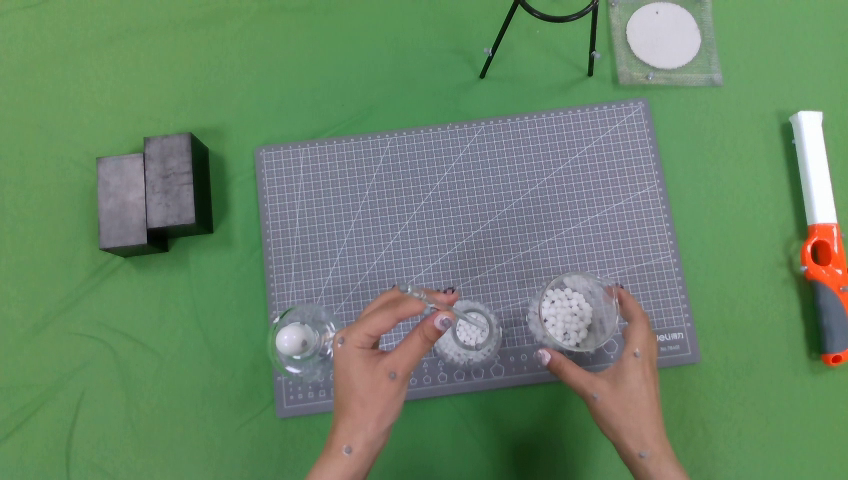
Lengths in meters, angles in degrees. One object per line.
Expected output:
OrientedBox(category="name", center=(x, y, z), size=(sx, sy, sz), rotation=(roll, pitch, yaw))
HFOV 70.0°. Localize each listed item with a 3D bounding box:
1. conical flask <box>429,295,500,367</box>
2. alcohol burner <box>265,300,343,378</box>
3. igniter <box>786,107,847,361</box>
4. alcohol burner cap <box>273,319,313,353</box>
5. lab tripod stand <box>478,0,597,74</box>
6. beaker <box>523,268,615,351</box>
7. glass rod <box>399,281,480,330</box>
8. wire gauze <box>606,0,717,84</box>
OrientedBox(category="conical flask", center=(0.042, 0.086, 0.590), size=(0.075, 0.122, 0.075), rotation=(0, 79, 1))
OrientedBox(category="alcohol burner", center=(-0.122, 0.096, 0.593), size=(0.078, 0.119, 0.077), rotation=(0, 79, 3))
OrientedBox(category="igniter", center=(0.427, -0.010, 0.654), size=(0.057, 0.025, 0.275), rotation=(0, 80, -10))
OrientedBox(category="alcohol burner cap", center=(-0.122, 0.089, 0.558), size=(0.034, 0.048, 0.034), rotation=(0, 83, -3))
OrientedBox(category="lab tripod stand", center=(0.125, -0.239, 0.643), size=(0.148, 0.132, 0.148), rotation=(0, 82, 1))
OrientedBox(category="beaker", center=(0.142, 0.069, 0.603), size=(0.084, 0.100, 0.074), rotation=(-40, 82, -7))
OrientedBox(category="glass rod", center=(0.017, 0.053, 0.459), size=(0.008, 0.201, 0.008), rotation=(-5, 74, 17))
OrientedBox(category="wire gauze", center=(0.276, -0.239, 0.705), size=(0.125, 0.011, 0.121), rotation=(-1, 81, -2))
